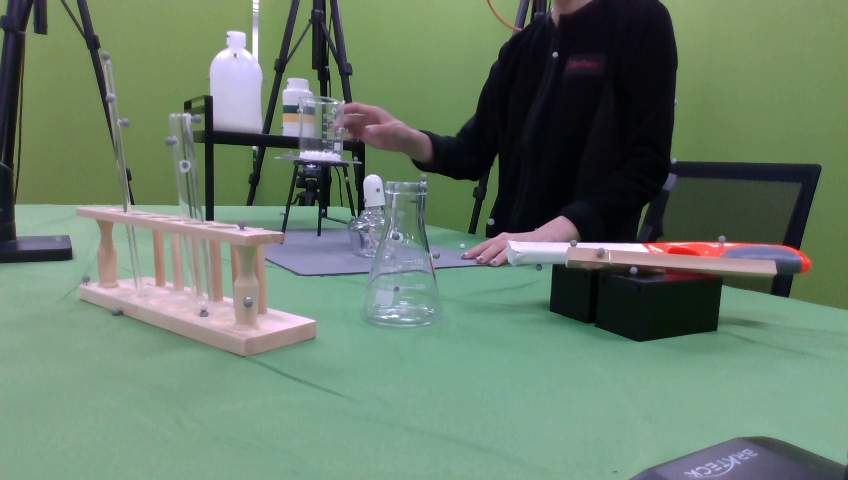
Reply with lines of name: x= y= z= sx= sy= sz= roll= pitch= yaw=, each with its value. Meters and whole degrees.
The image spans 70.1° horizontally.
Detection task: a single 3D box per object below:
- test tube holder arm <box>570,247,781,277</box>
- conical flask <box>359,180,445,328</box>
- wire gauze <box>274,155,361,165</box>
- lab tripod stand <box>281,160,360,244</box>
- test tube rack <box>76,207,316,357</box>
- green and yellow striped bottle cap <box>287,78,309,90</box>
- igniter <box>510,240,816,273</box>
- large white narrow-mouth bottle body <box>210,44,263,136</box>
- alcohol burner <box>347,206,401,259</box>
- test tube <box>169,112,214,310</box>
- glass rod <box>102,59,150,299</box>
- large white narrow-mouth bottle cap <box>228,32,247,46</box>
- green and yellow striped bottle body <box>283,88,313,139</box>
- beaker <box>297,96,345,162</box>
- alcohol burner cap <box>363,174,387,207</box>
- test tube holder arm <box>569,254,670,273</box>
test tube holder arm: x=0.217 y=0.019 z=0.524 sx=0.178 sy=0.015 sz=0.013 roll=3 pitch=-23 yaw=3
conical flask: x=-0.017 y=0.010 z=0.522 sx=0.075 sy=0.122 sz=0.075 roll=2 pitch=8 yaw=0
wire gauze: x=-0.174 y=-0.129 z=0.978 sx=0.125 sy=0.011 sz=0.121 roll=-2 pitch=6 yaw=-19
lab tripod stand: x=-0.170 y=-0.063 z=0.983 sx=0.148 sy=0.131 sz=0.148 roll=1 pitch=6 yaw=0
test tube rack: x=-0.196 y=0.023 z=0.500 sx=0.241 sy=0.085 sz=0.067 roll=8 pitch=9 yaw=36
green and yellow striped bottle cap: x=-0.265 y=-0.326 z=1.268 sx=0.045 sy=0.020 sz=0.045 roll=4 pitch=6 yaw=0
igniter: x=0.220 y=0.015 z=0.565 sx=0.277 sy=0.025 sz=0.057 roll=2 pitch=16 yaw=0
large white narrow-mouth bottle body: x=-0.369 y=-0.306 z=1.194 sx=0.102 sy=0.194 sz=0.102 roll=3 pitch=8 yaw=0
alcohol burner: x=-0.071 y=-0.034 z=0.867 sx=0.078 sy=0.119 sz=0.078 roll=0 pitch=7 yaw=0
test tube: x=-0.175 y=-0.020 z=0.455 sx=0.017 sy=0.150 sz=0.017 roll=-3 pitch=9 yaw=1
glass rod: x=-0.244 y=-0.045 z=0.496 sx=0.008 sy=0.199 sz=0.008 roll=-3 pitch=13 yaw=1
large white narrow-mouth bottle cap: x=-0.364 y=-0.391 z=1.180 sx=0.038 sy=0.024 sz=0.037 roll=3 pitch=8 yaw=0
green and yellow striped bottle body: x=-0.265 y=-0.275 z=1.275 sx=0.063 sy=0.119 sz=0.063 roll=2 pitch=7 yaw=0
beaker: x=-0.162 y=-0.175 z=0.966 sx=0.083 sy=0.100 sz=0.074 roll=7 pitch=8 yaw=33
alcohol burner cap: x=-0.072 y=-0.070 z=0.861 sx=0.034 sy=0.048 sz=0.034 roll=-7 pitch=6 yaw=1
test tube holder arm: x=0.172 y=0.019 z=0.532 sx=0.088 sy=0.015 sz=0.010 roll=3 pitch=-23 yaw=4
